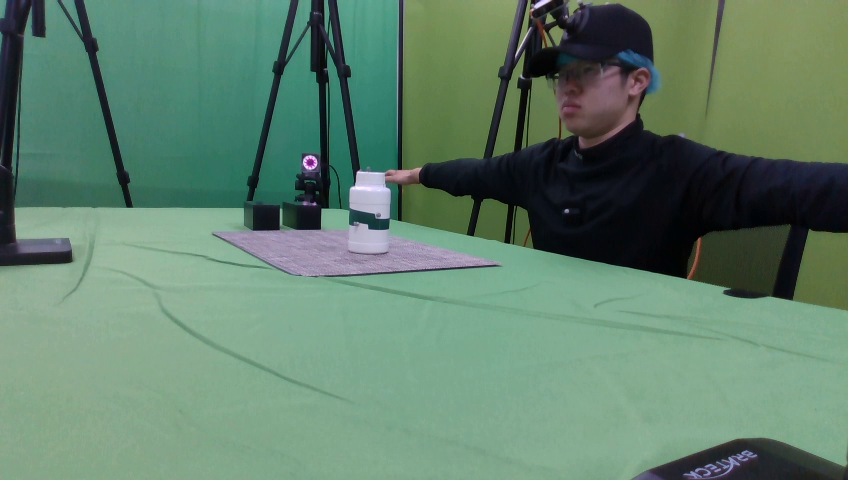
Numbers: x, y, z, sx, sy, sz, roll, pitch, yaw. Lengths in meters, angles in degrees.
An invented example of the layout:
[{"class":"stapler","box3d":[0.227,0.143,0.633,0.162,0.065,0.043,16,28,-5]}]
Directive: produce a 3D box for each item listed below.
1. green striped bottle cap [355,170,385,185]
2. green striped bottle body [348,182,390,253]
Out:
[{"class":"green striped bottle cap","box3d":[-0.080,-0.094,0.907,0.044,0.020,0.044,3,9,0]},{"class":"green striped bottle body","box3d":[-0.083,-0.043,0.913,0.063,0.119,0.063,2,7,0]}]
